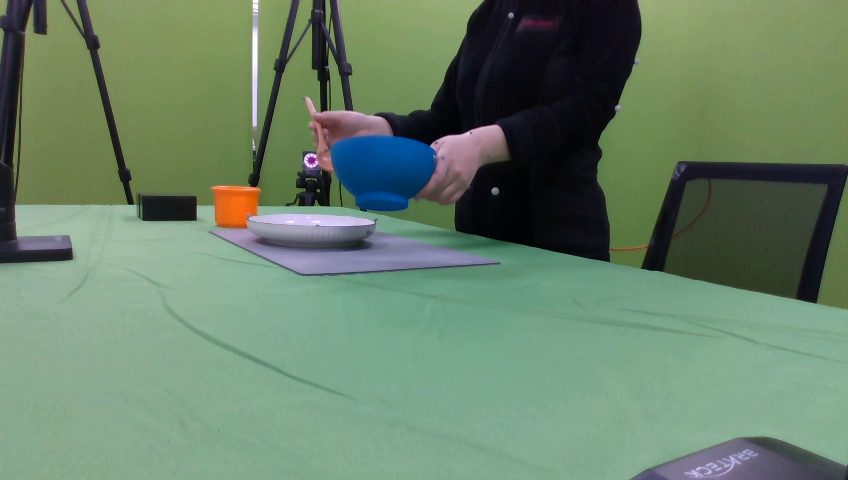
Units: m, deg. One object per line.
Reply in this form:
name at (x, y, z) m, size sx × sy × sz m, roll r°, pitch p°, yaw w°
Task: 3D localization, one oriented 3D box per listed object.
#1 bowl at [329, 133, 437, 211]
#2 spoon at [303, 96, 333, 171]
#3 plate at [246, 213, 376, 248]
bowl at (-0.058, -0.086, 0.837) m, size 0.151 × 0.076 × 0.151 m, roll 2°, pitch -10°, yaw 1°
spoon at (-0.195, -0.199, 1.118) m, size 0.042 × 0.193 × 0.021 m, roll 2°, pitch -34°, yaw -34°
plate at (-0.185, -0.017, 0.994) m, size 0.209 × 0.038 × 0.209 m, roll 3°, pitch 8°, yaw 0°
